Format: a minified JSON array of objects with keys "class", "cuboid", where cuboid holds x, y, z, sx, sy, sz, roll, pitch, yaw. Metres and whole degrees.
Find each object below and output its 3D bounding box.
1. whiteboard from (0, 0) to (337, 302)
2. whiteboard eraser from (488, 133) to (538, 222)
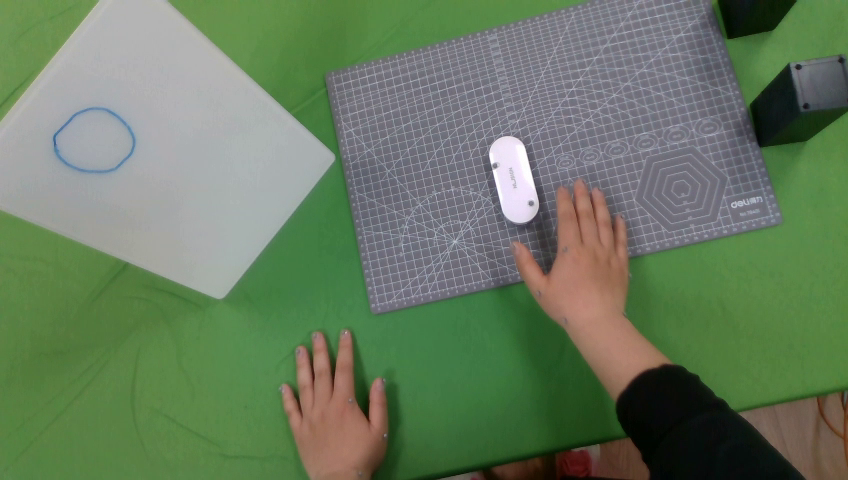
[{"class":"whiteboard","cuboid":[-0.275,-0.102,0.618,0.142,0.308,0.217,37,88,32]},{"class":"whiteboard eraser","cuboid":[0.098,-0.069,0.670,0.041,0.019,0.101,-13,80,6]}]
